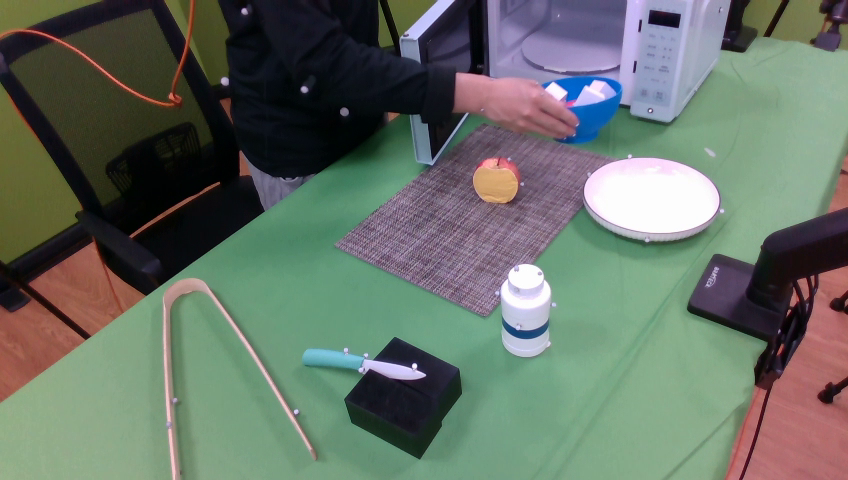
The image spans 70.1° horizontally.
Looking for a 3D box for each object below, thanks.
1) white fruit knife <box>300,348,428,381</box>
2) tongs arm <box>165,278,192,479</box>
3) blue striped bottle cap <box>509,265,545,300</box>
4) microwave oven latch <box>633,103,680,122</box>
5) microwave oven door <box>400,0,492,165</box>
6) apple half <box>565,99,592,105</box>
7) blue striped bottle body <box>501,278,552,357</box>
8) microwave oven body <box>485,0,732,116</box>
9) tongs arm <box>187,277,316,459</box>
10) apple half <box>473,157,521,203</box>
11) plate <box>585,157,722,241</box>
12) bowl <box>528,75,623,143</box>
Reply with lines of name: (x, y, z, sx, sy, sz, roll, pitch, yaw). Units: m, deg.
white fruit knife: (-0.079, 0.154, 0.748, 0.206, 0.027, 0.016, 1, 20, 34)
tongs arm: (-0.313, 0.182, 0.789, 0.051, 0.026, 0.381, -19, 41, -14)
blue striped bottle cap: (0.125, 0.051, 0.735, 0.044, 0.021, 0.044, -5, 38, 5)
microwave oven latch: (0.443, -0.249, 1.158, 0.078, 0.029, 0.030, 21, 49, 30)
microwave oven door: (0.054, -0.344, 1.167, 0.039, 0.245, 0.356, 11, 44, 21)
apple half: (0.248, -0.212, 0.991, 0.081, 0.033, 0.081, -9, 27, 5)
blue striped bottle body: (0.130, 0.089, 0.769, 0.063, 0.121, 0.063, -4, 41, 4)
microwave oven body: (0.377, -0.463, 1.267, 0.438, 0.261, 0.327, 21, 49, 30)
tongs arm: (-0.240, 0.154, 0.815, 0.028, 0.028, 0.384, -31, 46, -21)
apple half: (0.127, -0.106, 1.030, 0.080, 0.075, 0.053, 4, 37, 19)
plate: (0.367, -0.063, 0.979, 0.207, 0.039, 0.206, -4, 41, 4)
bowl: (0.249, -0.210, 0.994, 0.151, 0.077, 0.150, -7, 31, 5)
